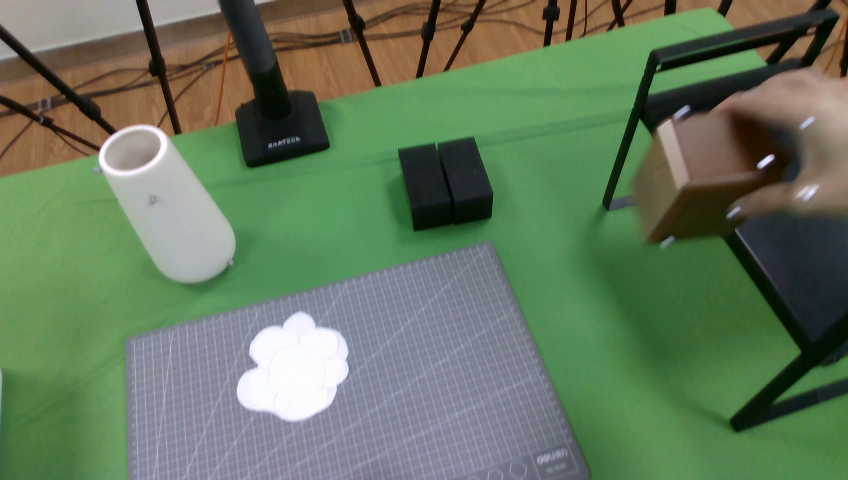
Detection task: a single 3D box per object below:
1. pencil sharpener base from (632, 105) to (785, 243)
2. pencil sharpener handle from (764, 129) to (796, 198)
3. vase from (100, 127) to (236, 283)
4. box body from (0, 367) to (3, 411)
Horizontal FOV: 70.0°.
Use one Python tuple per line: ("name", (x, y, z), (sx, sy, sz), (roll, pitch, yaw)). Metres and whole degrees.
("pencil sharpener base", (0.214, -0.047, 0.466), (0.077, 0.108, 0.061), (-6, 66, 1))
("pencil sharpener handle", (0.264, -0.055, 0.452), (0.030, 0.068, 0.035), (-6, 55, 1))
("vase", (-0.288, -0.035, 0.690), (0.098, 0.202, 0.097), (-2, 55, 3))
("box body", (-0.543, 0.259, 0.525), (0.254, 0.162, 0.360), (-16, 57, -8))
